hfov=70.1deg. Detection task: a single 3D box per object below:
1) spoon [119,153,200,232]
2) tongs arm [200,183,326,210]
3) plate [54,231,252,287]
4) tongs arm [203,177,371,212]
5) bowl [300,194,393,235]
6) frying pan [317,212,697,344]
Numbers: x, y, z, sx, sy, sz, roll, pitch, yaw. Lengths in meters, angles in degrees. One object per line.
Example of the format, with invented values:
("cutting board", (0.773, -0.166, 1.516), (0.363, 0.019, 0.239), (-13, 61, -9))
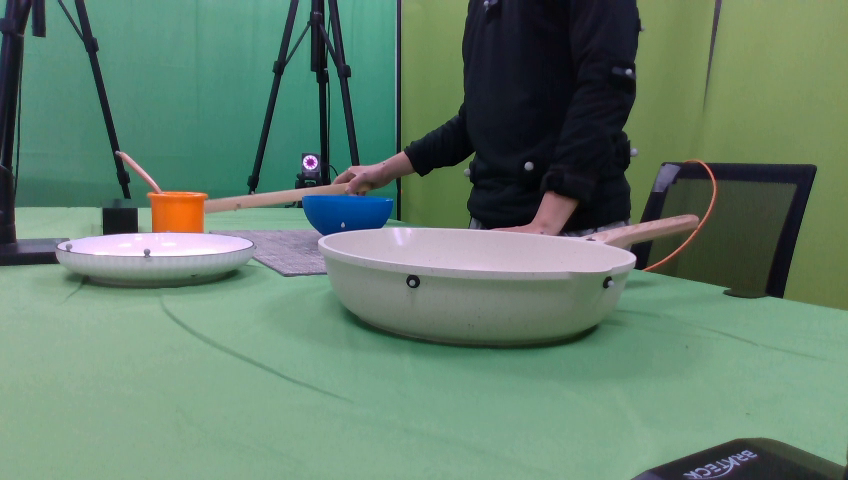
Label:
("spoon", (-0.439, -0.077, 1.000), (0.021, 0.193, 0.042), (-43, -7, 21))
("tongs arm", (-0.316, -0.108, 1.405), (0.386, 0.026, 0.050), (-9, 6, -18))
("plate", (-0.309, 0.020, 0.705), (0.208, 0.039, 0.207), (3, 7, 0))
("tongs arm", (-0.287, -0.103, 1.335), (0.389, 0.028, 0.028), (-11, 3, -30))
("bowl", (-0.128, -0.034, 0.995), (0.151, 0.077, 0.151), (2, 7, 0))
("frying pan", (0.133, 0.013, 0.629), (0.490, 0.102, 0.305), (-12, 14, -31))
